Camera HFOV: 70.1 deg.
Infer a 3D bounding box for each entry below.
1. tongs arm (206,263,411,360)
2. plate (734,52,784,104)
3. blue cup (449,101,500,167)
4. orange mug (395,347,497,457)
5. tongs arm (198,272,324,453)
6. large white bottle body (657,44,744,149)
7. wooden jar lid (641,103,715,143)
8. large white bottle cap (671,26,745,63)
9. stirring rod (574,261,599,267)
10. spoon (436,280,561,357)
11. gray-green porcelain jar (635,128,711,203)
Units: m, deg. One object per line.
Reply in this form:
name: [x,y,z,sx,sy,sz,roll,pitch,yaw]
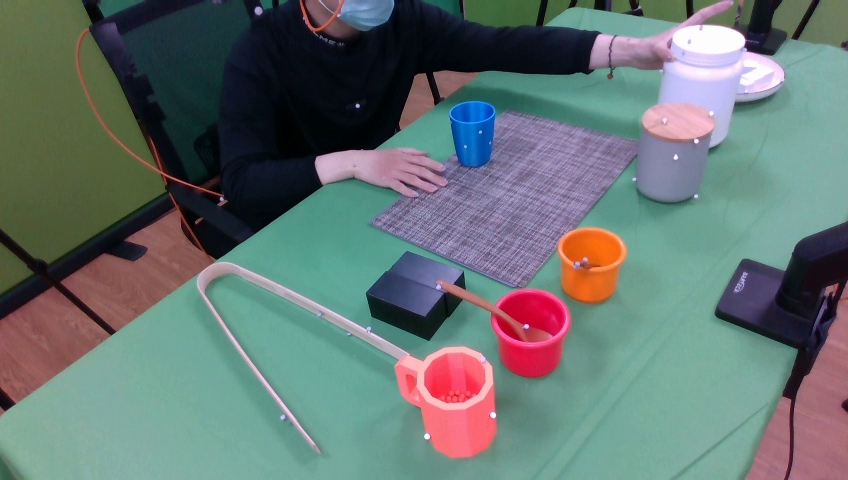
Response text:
tongs arm: [-0.179,0.107,0.870,0.381,0.026,0.051,23,53,32]
plate: [0.632,-0.336,1.262,0.207,0.039,0.206,-4,41,4]
blue cup: [0.092,-0.194,1.123,0.092,0.100,0.092,-4,39,3]
orange mug: [0.024,0.181,0.703,0.125,0.101,0.083,21,48,23]
tongs arm: [-0.236,0.153,0.830,0.028,0.028,0.384,-36,47,-19]
large white bottle body: [0.487,-0.268,1.076,0.130,0.185,0.130,-4,41,4]
wooden jar lid: [0.398,-0.180,0.952,0.108,0.021,0.108,-4,43,4]
large white bottle cap: [0.479,-0.332,1.020,0.115,0.018,0.114,-4,41,4]
stirring rod: [0.221,0.033,0.817,0.014,0.006,0.177,9,1,22]
spoon: [0.096,0.095,0.758,0.195,0.021,0.041,34,40,-20]
gray-green porcelain jar: [0.405,-0.133,0.992,0.106,0.127,0.105,-4,40,4]
